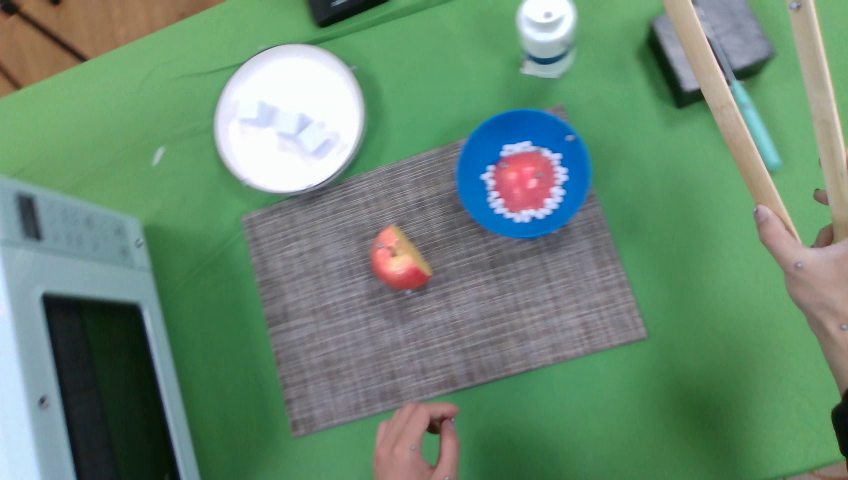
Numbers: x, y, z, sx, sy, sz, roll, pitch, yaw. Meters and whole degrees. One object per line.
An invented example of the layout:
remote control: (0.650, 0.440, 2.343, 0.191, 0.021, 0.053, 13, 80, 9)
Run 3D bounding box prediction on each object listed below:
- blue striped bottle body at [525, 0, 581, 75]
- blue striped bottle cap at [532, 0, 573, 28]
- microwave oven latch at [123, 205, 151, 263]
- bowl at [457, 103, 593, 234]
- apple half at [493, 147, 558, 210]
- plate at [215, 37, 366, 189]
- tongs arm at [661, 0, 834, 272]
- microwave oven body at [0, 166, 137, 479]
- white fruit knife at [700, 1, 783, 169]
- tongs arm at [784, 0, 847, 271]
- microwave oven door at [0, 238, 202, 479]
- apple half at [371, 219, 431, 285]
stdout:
blue striped bottle body: (0.151, -0.248, 0.712, 0.063, 0.121, 0.063, -2, 80, 11)
blue striped bottle cap: (0.140, -0.257, 0.663, 0.044, 0.021, 0.044, -1, 84, 11)
microwave oven latch: (-0.391, -0.005, 0.808, 0.030, 0.029, 0.079, -19, 79, 7)
bowl: (0.119, -0.075, 0.711, 0.151, 0.077, 0.151, -2, 81, 12)
apple half: (0.119, -0.075, 0.706, 0.081, 0.033, 0.081, -2, 80, 12)
plate: (-0.174, -0.165, 0.808, 0.207, 0.039, 0.207, -2, 81, 11)
tongs arm: (0.229, -0.132, 0.473, 0.028, 0.027, 0.389, -34, 102, -15)
microwave oven body: (-0.497, 0.192, 0.700, 0.326, 0.261, 0.439, -19, 79, 7)
white fruit knife: (0.354, -0.172, 0.679, 0.016, 0.027, 0.207, -26, 94, 24)
tongs arm: (0.292, -0.161, 0.487, 0.051, 0.026, 0.386, -23, 100, -14)
microwave oven door: (-0.349, 0.183, 0.667, 0.039, 0.245, 0.354, -20, 78, 8)
apple half: (-0.034, 0.022, 0.730, 0.053, 0.075, 0.080, -37, 80, 8)
